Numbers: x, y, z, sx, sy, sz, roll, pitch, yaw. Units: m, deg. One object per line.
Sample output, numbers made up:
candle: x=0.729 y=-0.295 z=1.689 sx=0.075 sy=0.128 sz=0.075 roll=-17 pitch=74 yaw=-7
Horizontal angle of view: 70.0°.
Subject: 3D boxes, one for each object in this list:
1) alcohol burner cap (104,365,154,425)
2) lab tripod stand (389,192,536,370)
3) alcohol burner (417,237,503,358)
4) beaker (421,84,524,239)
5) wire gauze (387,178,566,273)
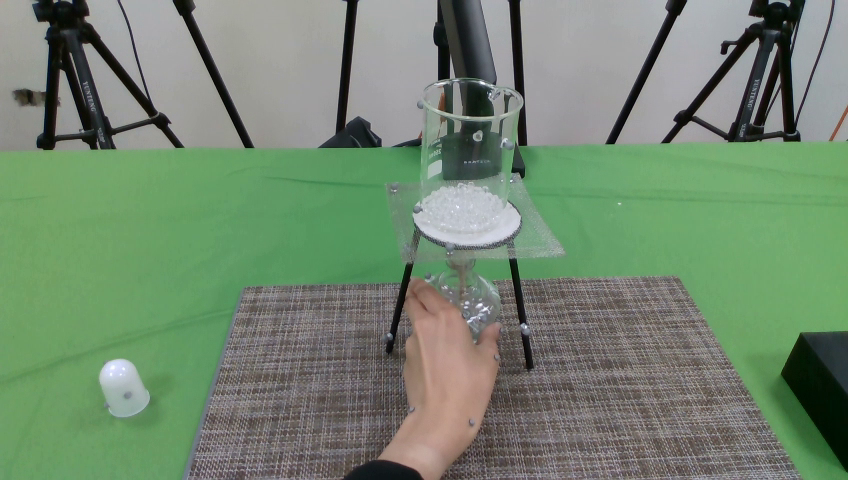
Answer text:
alcohol burner cap: x=-0.240 y=0.122 z=0.488 sx=0.034 sy=0.048 sz=0.033 roll=1 pitch=35 yaw=0
lab tripod stand: x=0.040 y=0.036 z=0.527 sx=0.148 sy=0.132 sz=0.147 roll=2 pitch=34 yaw=-1
alcohol burner: x=0.033 y=0.046 z=0.531 sx=0.078 sy=0.120 sz=0.077 roll=2 pitch=36 yaw=-1
beaker: x=0.035 y=-0.059 z=0.464 sx=0.073 sy=0.101 sz=0.084 roll=20 pitch=39 yaw=23
wire gauze: x=0.037 y=-0.014 z=0.485 sx=0.125 sy=0.011 sz=0.120 roll=-1 pitch=37 yaw=-10
